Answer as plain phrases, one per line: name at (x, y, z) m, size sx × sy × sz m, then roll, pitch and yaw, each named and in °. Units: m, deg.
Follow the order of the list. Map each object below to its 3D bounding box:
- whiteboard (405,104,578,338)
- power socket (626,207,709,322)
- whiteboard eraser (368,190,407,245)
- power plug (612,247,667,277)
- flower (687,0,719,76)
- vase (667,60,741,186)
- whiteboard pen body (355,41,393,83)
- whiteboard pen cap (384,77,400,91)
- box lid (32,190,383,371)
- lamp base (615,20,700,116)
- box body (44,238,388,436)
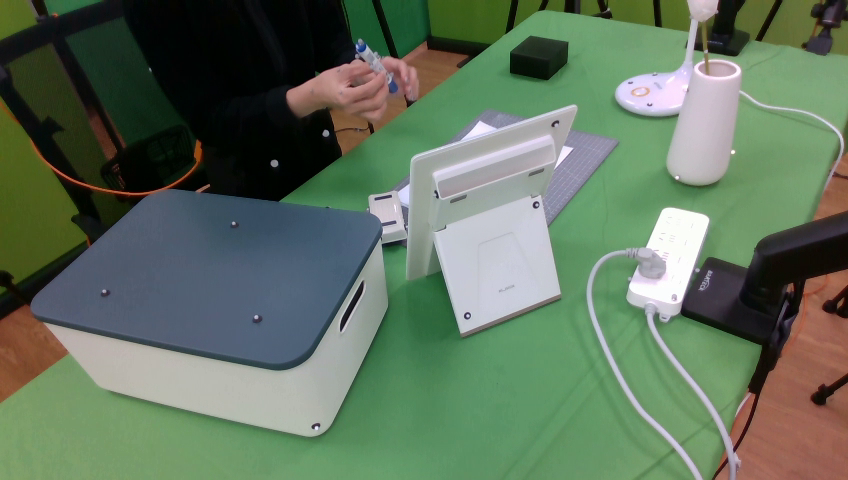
whiteboard at (0.102, 0.002, 0.787) m, size 0.218 × 0.306 × 0.143 m, roll -19°, pitch 62°, yaw -14°
power socket at (0.360, 0.026, 0.886) m, size 0.072 × 0.033 × 0.227 m, roll 17°, pitch 46°, yaw 27°
whiteboard eraser at (-0.061, -0.035, 1.005) m, size 0.056 × 0.042 × 0.112 m, roll -9°, pitch 40°, yaw -4°
power plug at (0.306, 0.031, 0.852) m, size 0.072 × 0.053 × 0.035 m, roll 21°, pitch 48°, yaw 37°
flower at (0.436, -0.242, 0.934) m, size 0.038 × 0.364 × 0.043 m, roll -24°, pitch 49°, yaw 8°
vase at (0.463, -0.189, 0.994) m, size 0.098 × 0.201 × 0.097 m, roll -4°, pitch 40°, yaw 4°
whiteboard pen body at (-0.067, -0.253, 0.881) m, size 0.017 × 0.141 × 0.017 m, roll -2°, pitch 81°, yaw 17°
whiteboard pen cap at (-0.050, -0.244, 0.937) m, size 0.018 × 0.033 × 0.018 m, roll -2°, pitch 82°, yaw 15°
box lid at (-0.257, 0.032, 0.750) m, size 0.370 × 0.015 × 0.263 m, roll 7°, pitch 41°, yaw 16°
lamp base at (0.484, -0.364, 1.211) m, size 0.180 × 0.181 × 0.159 m, roll -15°, pitch 41°, yaw -14°
box body at (-0.251, 0.088, 0.799) m, size 0.362 × 0.161 × 0.254 m, roll 7°, pitch 42°, yaw 16°
